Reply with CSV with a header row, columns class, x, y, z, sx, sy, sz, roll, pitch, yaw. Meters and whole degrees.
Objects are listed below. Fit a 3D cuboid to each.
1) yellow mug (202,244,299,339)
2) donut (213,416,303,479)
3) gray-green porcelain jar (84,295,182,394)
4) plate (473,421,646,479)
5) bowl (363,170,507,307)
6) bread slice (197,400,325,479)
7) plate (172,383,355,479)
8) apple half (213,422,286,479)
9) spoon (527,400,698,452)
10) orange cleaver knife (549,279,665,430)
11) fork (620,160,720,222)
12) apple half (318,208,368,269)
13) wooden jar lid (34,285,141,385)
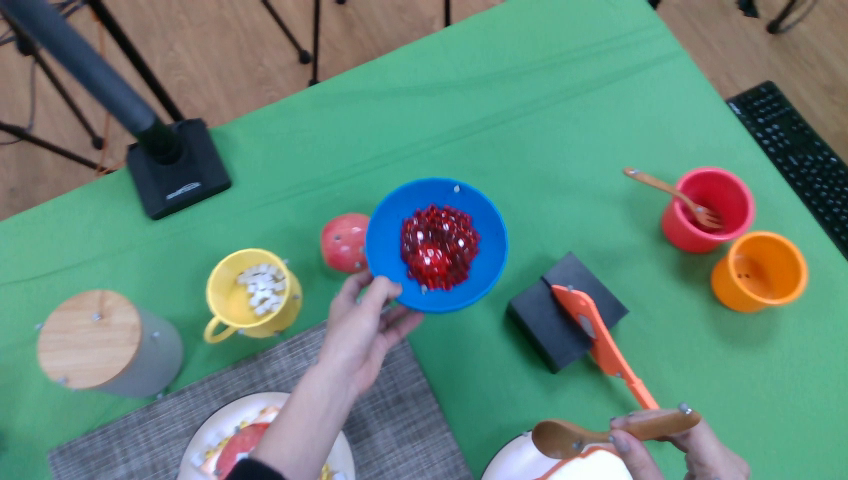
class,x,y,z,sx,sy,sz,roll,pitch,yaw
yellow mug,-0.224,0.073,0.754,0.099,0.064,0.130,40,78,13
donut,-0.184,0.246,0.675,0.099,0.048,0.098,-1,72,2
gray-green porcelain jar,-0.353,0.123,0.708,0.106,0.127,0.105,0,71,2
plate,0.152,0.307,0.679,0.209,0.038,0.207,-1,71,2
bowl,0.011,0.009,0.660,0.151,0.077,0.150,0,69,-1
bread slice,-0.177,0.268,0.698,0.107,0.018,0.133,-43,75,-11
plate,-0.181,0.271,0.696,0.207,0.039,0.206,0,72,1
apple half,-0.188,0.235,0.641,0.081,0.033,0.081,-3,72,8
spoon,0.136,0.143,0.462,0.021,0.194,0.041,-40,88,-27
orange cleaver knife,0.215,0.133,0.714,0.012,0.077,0.211,-35,95,-17
fork,0.305,-0.059,0.742,0.209,0.018,0.028,20,66,-36
apple half,-0.102,-0.006,0.785,0.074,0.054,0.080,-4,71,2
wooden jar lid,-0.356,0.102,0.648,0.108,0.021,0.107,0,68,1
